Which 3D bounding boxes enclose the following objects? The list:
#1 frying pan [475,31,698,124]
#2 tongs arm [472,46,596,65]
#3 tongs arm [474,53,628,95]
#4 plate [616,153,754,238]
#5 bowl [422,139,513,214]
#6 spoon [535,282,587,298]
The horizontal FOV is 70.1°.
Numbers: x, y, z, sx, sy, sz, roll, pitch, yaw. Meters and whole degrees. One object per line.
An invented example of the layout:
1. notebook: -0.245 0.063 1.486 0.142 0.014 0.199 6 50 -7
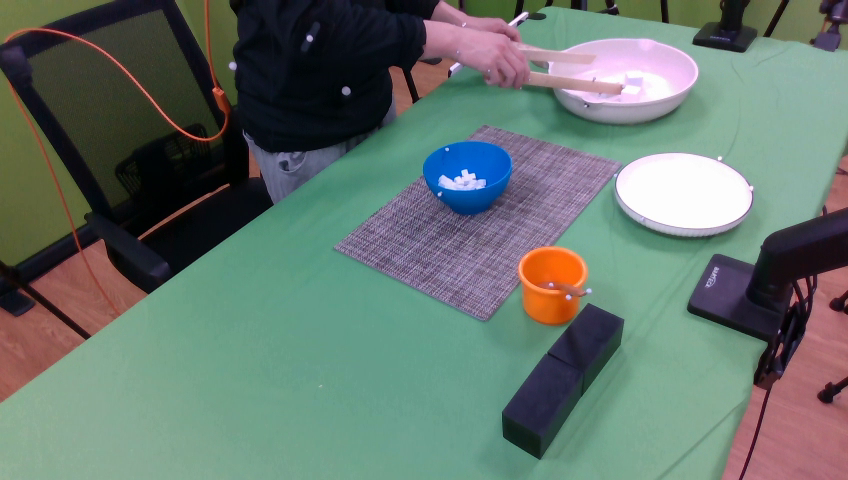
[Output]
1. frying pan: 0.320 -0.371 1.290 0.485 0.103 0.307 28 50 23
2. tongs arm: 0.224 -0.353 1.172 0.390 0.027 0.028 -13 60 -42
3. tongs arm: 0.254 -0.309 1.143 0.388 0.026 0.050 -6 52 -38
4. plate: 0.416 -0.069 0.977 0.207 0.039 0.206 -4 40 4
5. bowl: 0.075 -0.097 1.021 0.151 0.077 0.150 -4 41 4
6. spoon: 0.176 0.063 0.774 0.041 0.194 0.021 -3 85 0
